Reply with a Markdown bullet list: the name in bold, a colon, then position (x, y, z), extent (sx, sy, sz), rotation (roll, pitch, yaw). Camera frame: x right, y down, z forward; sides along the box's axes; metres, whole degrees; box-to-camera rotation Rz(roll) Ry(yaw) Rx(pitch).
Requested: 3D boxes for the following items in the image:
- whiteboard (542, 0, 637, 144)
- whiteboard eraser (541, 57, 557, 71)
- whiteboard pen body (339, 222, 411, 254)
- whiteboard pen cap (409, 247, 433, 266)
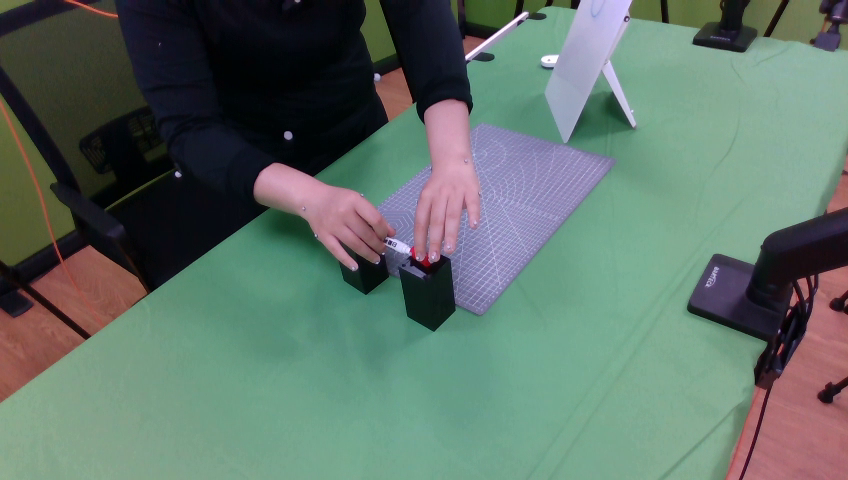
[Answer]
- **whiteboard**: position (0.366, -0.351, 1.160), extent (0.144, 0.305, 0.216), rotation (10, 39, -10)
- **whiteboard eraser**: position (0.323, -0.412, 1.407), extent (0.101, 0.019, 0.041), rotation (1, 40, 11)
- **whiteboard pen body**: position (-0.060, 0.000, 0.833), extent (0.139, 0.017, 0.017), rotation (19, 47, 27)
- **whiteboard pen cap**: position (-0.005, 0.021, 0.795), extent (0.017, 0.017, 0.032), rotation (-35, 43, -29)
